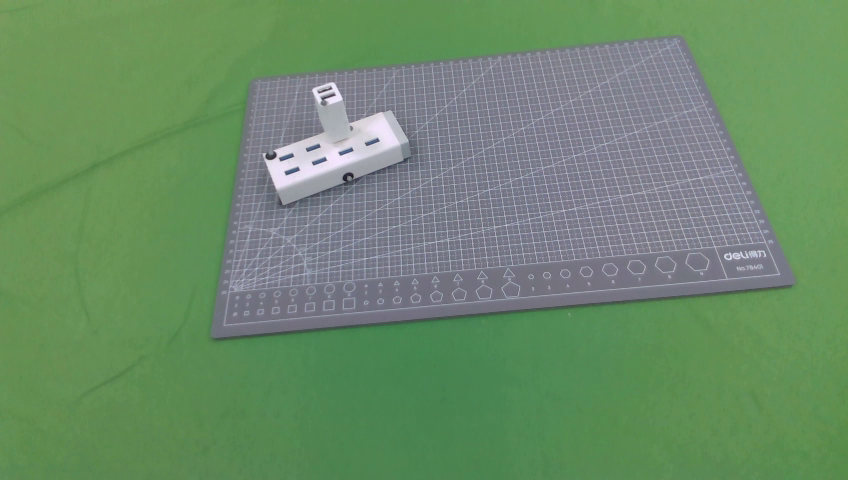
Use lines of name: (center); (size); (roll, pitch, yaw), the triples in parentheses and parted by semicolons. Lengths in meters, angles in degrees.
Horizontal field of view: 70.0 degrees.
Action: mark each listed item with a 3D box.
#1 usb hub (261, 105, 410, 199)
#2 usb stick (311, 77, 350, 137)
usb hub: (-0.080, -0.081, 0.548); (0.125, 0.025, 0.049); (-21, 57, -10)
usb stick: (-0.081, -0.111, 0.533); (0.021, 0.060, 0.027); (-23, 55, -10)
